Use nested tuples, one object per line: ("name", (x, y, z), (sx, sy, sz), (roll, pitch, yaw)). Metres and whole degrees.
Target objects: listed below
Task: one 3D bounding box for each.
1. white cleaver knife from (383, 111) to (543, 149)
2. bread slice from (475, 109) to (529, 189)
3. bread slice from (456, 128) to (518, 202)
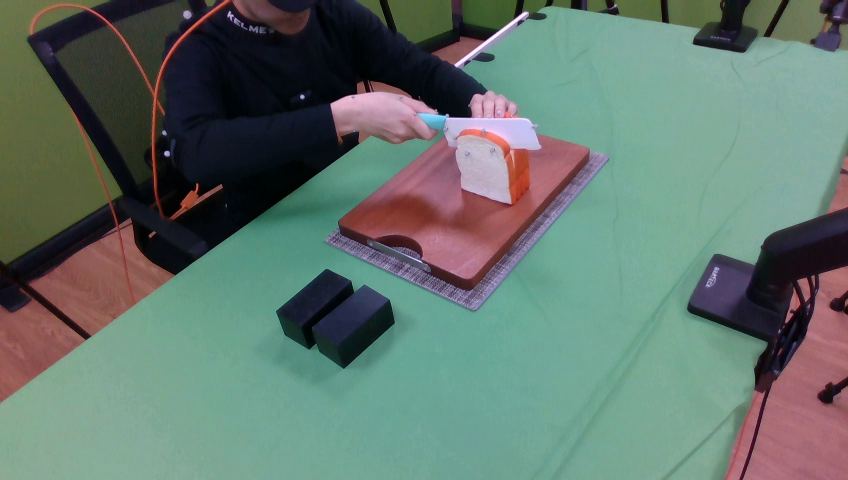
("white cleaver knife", (0.051, -0.172, 0.962), (0.284, 0.066, 0.021), (11, 50, 33))
("bread slice", (0.127, -0.150, 0.998), (0.106, 0.135, 0.018), (21, 46, 26))
("bread slice", (0.097, -0.121, 0.970), (0.104, 0.132, 0.019), (18, 55, 28))
